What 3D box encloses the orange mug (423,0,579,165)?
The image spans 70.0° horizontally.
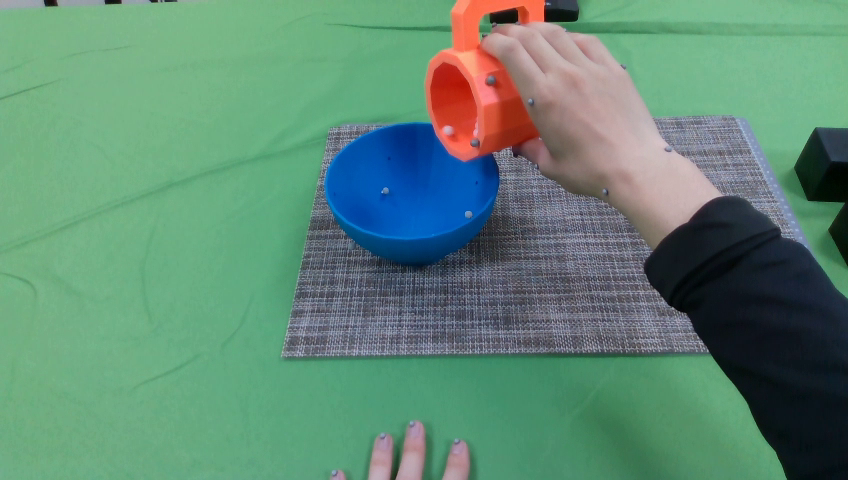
[{"bbox_3d":[0.059,-0.131,0.485,0.101,0.127,0.082,-25,34,-21],"label":"orange mug"}]

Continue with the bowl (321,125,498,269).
[{"bbox_3d":[-0.010,-0.027,0.541,0.151,0.077,0.150,-2,47,3],"label":"bowl"}]
